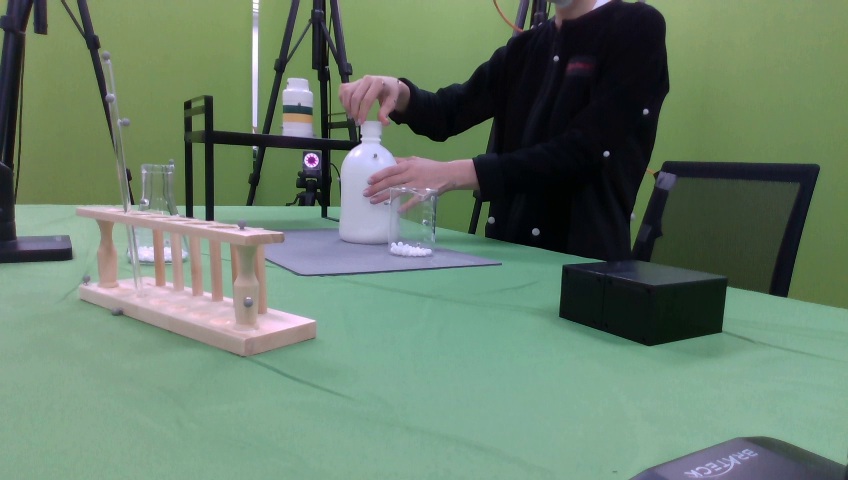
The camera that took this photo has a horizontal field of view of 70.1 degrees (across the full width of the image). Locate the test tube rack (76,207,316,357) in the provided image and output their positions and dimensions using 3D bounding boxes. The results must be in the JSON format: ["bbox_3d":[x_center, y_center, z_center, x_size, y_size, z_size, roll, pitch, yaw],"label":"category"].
[{"bbox_3d":[-0.196,0.023,0.500,0.241,0.085,0.067,8,9,36],"label":"test tube rack"}]

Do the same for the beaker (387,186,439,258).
[{"bbox_3d":[-0.015,-0.027,0.885,0.074,0.100,0.083,-1,9,-20],"label":"beaker"}]

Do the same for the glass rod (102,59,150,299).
[{"bbox_3d":[-0.243,-0.045,0.496,0.008,0.199,0.008,-4,13,1],"label":"glass rod"}]

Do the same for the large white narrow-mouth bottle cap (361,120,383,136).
[{"bbox_3d":[-0.085,-0.184,0.998,0.038,0.024,0.037,4,9,0],"label":"large white narrow-mouth bottle cap"}]

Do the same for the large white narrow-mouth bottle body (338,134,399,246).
[{"bbox_3d":[-0.092,-0.093,1.014,0.102,0.194,0.101,4,9,0],"label":"large white narrow-mouth bottle body"}]

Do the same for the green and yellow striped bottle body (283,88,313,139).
[{"bbox_3d":[-0.266,-0.275,1.275,0.063,0.119,0.063,3,7,0],"label":"green and yellow striped bottle body"}]

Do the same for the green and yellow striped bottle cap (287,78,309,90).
[{"bbox_3d":[-0.265,-0.326,1.268,0.045,0.020,0.045,4,6,0],"label":"green and yellow striped bottle cap"}]

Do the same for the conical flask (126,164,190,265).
[{"bbox_3d":[-0.332,-0.033,0.756,0.075,0.122,0.075,2,7,0],"label":"conical flask"}]
